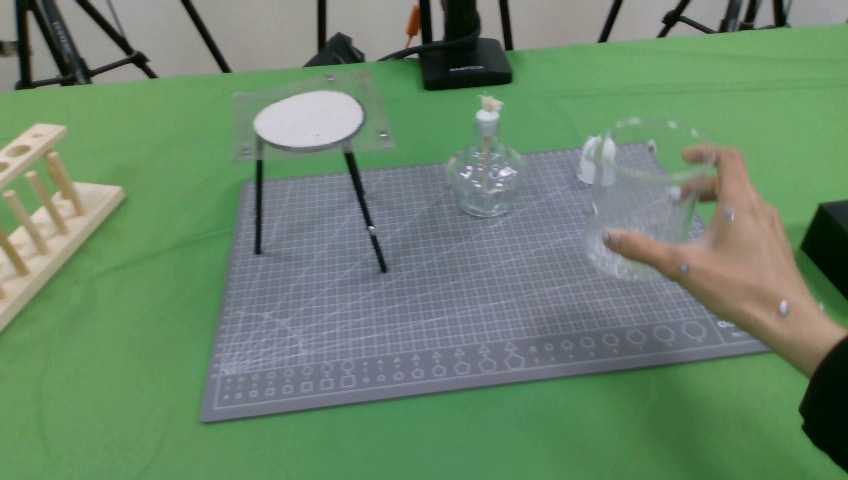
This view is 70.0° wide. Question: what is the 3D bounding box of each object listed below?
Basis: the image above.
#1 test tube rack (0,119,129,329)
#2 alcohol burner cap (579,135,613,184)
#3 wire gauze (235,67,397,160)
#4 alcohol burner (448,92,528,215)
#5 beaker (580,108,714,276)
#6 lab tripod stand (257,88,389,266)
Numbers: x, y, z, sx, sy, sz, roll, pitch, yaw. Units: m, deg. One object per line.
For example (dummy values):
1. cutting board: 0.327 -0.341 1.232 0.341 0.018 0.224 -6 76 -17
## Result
1. test tube rack: -0.376 -0.007 0.542 0.066 0.086 0.240 7 43 11
2. alcohol burner cap: 0.179 -0.086 0.627 0.034 0.048 0.033 -2 42 2
3. wire gauze: -0.093 -0.104 0.493 0.125 0.011 0.120 -10 43 -7
4. alcohol burner: 0.061 -0.085 0.578 0.078 0.120 0.077 -2 40 2
5. beaker: 0.148 -0.031 0.428 0.084 0.101 0.073 -2 41 2
6. lab tripod stand: -0.089 -0.054 0.538 0.148 0.133 0.147 -2 44 2
